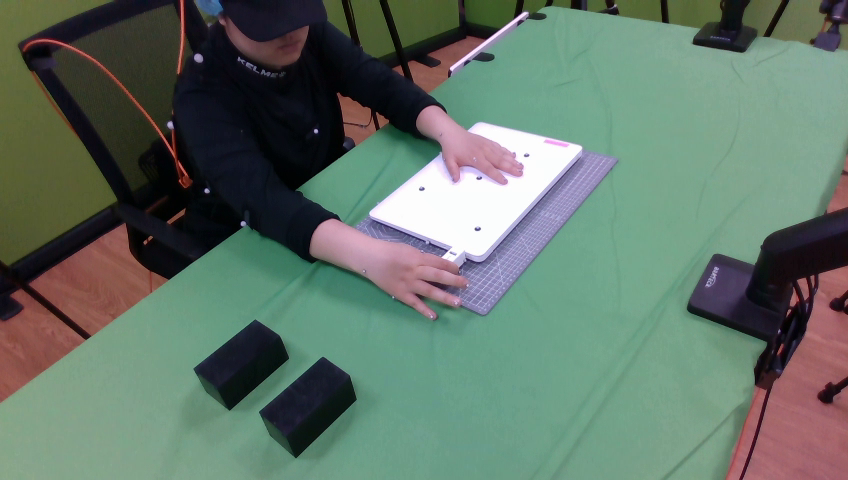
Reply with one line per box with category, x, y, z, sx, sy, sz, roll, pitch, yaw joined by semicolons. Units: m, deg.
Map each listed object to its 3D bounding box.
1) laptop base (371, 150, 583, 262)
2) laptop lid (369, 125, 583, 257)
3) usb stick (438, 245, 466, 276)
laptop base;0.101;-0.097;1.071;0.233;0.023;0.355;19;47;33
laptop lid;0.097;-0.105;1.066;0.239;0.013;0.358;21;47;33
usb stick;0.047;0.027;0.911;0.021;0.027;0.059;30;46;26
